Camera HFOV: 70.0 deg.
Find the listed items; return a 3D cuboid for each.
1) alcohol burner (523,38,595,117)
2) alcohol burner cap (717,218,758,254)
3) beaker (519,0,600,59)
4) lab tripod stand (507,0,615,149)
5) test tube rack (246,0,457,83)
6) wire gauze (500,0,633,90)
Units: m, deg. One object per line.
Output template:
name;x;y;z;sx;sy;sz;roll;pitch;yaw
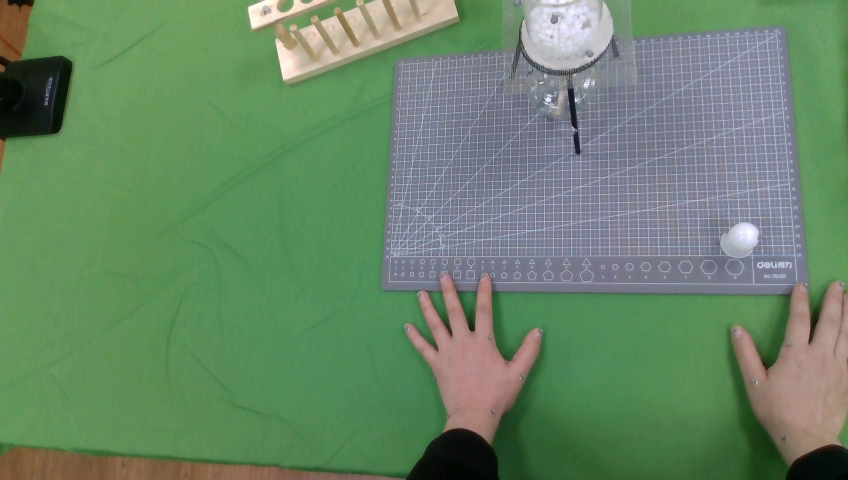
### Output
alcohol burner;0.146;-0.183;0.657;0.078;0.120;0.077;-3;76;12
alcohol burner cap;0.318;-0.006;0.611;0.034;0.048;0.033;-3;76;13
beaker;0.118;-0.215;0.540;0.083;0.101;0.074;13;81;17
lab tripod stand;0.151;-0.188;0.646;0.148;0.132;0.147;-3;78;12
test tube rack;-0.089;-0.284;0.758;0.242;0.086;0.066;-17;73;10
wire gauze;0.135;-0.203;0.584;0.125;0.011;0.121;-1;81;12
